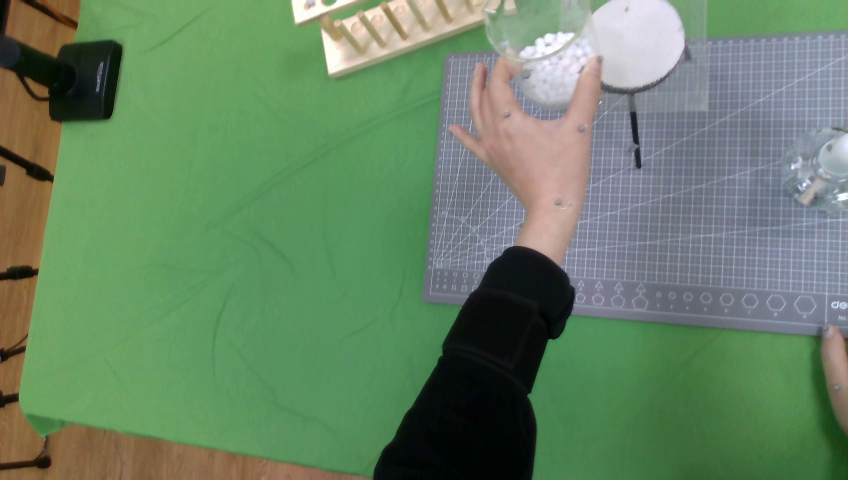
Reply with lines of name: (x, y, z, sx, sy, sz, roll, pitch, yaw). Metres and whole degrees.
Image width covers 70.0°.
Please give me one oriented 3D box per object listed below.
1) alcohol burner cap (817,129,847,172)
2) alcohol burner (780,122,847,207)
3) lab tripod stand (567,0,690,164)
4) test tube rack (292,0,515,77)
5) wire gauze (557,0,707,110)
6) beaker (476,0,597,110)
alcohol burner cap: (0.347, -0.076, 0.494, 0.034, 0.048, 0.034, -1, 85, 16)
alcohol burner: (0.358, -0.070, 0.527, 0.077, 0.120, 0.077, -3, 81, 18)
lab tripod stand: (0.200, -0.161, 0.586, 0.148, 0.132, 0.148, -2, 82, 17)
test tube rack: (-0.025, -0.275, 0.710, 0.242, 0.086, 0.066, -15, 77, 17)
wire gauze: (0.178, -0.171, 0.522, 0.124, 0.011, 0.121, 2, 85, 19)
beaker: (0.092, -0.151, 0.475, 0.083, 0.101, 0.074, 19, 87, 25)
